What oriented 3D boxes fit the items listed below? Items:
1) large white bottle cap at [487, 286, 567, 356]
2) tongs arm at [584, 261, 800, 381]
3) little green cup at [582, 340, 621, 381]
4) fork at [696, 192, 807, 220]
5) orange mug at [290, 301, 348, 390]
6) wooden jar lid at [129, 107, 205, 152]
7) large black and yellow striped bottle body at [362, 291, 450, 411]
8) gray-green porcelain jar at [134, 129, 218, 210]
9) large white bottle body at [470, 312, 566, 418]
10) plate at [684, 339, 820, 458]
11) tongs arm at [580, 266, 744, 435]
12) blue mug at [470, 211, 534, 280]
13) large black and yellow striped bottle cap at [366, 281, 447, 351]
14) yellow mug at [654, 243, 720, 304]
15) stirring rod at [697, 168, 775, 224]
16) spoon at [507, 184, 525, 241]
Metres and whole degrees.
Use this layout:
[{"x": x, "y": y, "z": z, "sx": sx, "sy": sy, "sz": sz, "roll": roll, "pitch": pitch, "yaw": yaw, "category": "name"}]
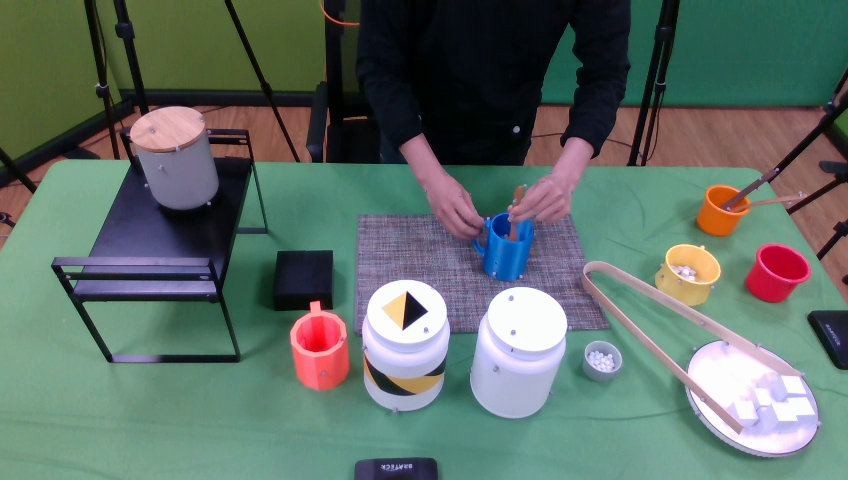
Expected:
[{"x": 0.147, "y": 0.115, "z": 0.869, "sx": 0.115, "sy": 0.018, "sz": 0.114, "roll": 3, "pitch": 46, "yaw": -3, "category": "large white bottle cap"}, {"x": 0.452, "y": 0.137, "z": 1.064, "sx": 0.051, "sy": 0.027, "sz": 0.382, "roll": -34, "pitch": 50, "yaw": -27, "category": "tongs arm"}, {"x": 0.295, "y": 0.204, "z": 1.014, "sx": 0.061, "sy": 0.039, "sz": 0.061, "roll": 2, "pitch": 45, "yaw": -2, "category": "little green cup"}, {"x": 0.655, "y": -0.069, "z": 1.224, "sx": 0.207, "sy": 0.019, "sz": 0.028, "roll": -17, "pitch": 33, "yaw": 45, "category": "fork"}, {"x": -0.170, "y": 0.162, "z": 0.976, "sx": 0.083, "sy": 0.101, "sz": 0.125, "roll": -7, "pitch": 52, "yaw": -12, "category": "orange mug"}, {"x": -0.385, "y": -0.163, "z": 0.915, "sx": 0.108, "sy": 0.021, "sz": 0.107, "roll": 2, "pitch": 47, "yaw": -2, "category": "wooden jar lid"}, {"x": -0.029, "y": 0.163, "z": 0.928, "sx": 0.131, "sy": 0.185, "sz": 0.130, "roll": 2, "pitch": 47, "yaw": -2, "category": "large black and yellow striped bottle body"}, {"x": -0.388, "y": -0.120, "z": 0.960, "sx": 0.106, "sy": 0.127, "sz": 0.105, "roll": 2, "pitch": 46, "yaw": -2, "category": "gray-green porcelain jar"}, {"x": 0.143, "y": 0.173, "z": 0.930, "sx": 0.131, "sy": 0.185, "sz": 0.130, "roll": 2, "pitch": 46, "yaw": -2, "category": "large white bottle body"}, {"x": 0.523, "y": 0.256, "z": 0.982, "sx": 0.208, "sy": 0.039, "sz": 0.206, "roll": 2, "pitch": 46, "yaw": -2, "category": "plate"}, {"x": 0.384, "y": 0.173, "z": 1.028, "sx": 0.028, "sy": 0.028, "sz": 0.385, "roll": -25, "pitch": 46, "yaw": -15, "category": "tongs arm"}, {"x": 0.141, "y": 0.005, "z": 1.140, "sx": 0.116, "sy": 0.106, "sz": 0.082, "roll": 21, "pitch": 49, "yaw": 16, "category": "blue mug"}, {"x": -0.025, "y": 0.106, "z": 0.866, "sx": 0.115, "sy": 0.019, "sz": 0.114, "roll": 2, "pitch": 46, "yaw": -1, "category": "large black and yellow striped bottle cap"}, {"x": 0.504, "y": 0.054, "z": 1.154, "sx": 0.099, "sy": 0.064, "sz": 0.130, "roll": 28, "pitch": 50, "yaw": 22, "category": "yellow mug"}, {"x": 0.644, "y": -0.090, "z": 1.252, "sx": 0.176, "sy": 0.006, "sz": 0.014, "roll": -40, "pitch": 53, "yaw": 16, "category": "stirring rod"}, {"x": 0.159, "y": -0.028, "z": 1.068, "sx": 0.041, "sy": 0.195, "sz": 0.021, "roll": -7, "pitch": 47, "yaw": -5, "category": "spoon"}]
